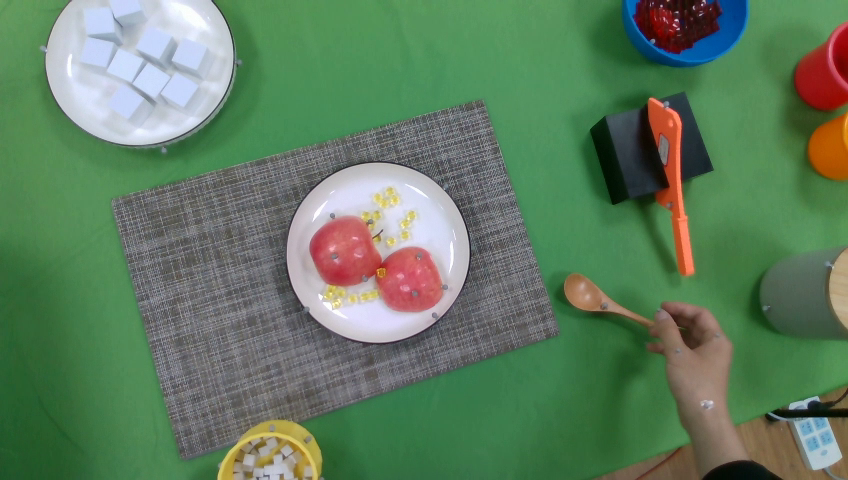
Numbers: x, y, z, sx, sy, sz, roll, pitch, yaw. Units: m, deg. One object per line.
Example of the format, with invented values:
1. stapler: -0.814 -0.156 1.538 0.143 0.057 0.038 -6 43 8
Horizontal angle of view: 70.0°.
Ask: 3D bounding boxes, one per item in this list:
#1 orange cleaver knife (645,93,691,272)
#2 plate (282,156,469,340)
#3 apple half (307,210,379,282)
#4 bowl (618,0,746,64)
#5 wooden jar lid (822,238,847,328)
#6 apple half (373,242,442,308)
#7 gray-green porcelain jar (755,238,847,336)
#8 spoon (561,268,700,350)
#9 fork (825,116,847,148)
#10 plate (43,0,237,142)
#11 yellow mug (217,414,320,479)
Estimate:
1. orange cleaver knife: 0.285 -0.066 0.712 0.012 0.076 0.212 -15 109 -3
2. plate: -0.054 0.009 0.691 0.209 0.038 0.208 1 84 -6
3. apple half: -0.092 0.006 0.672 0.075 0.053 0.080 -19 86 -5
4. bowl: 0.300 -0.278 0.739 0.151 0.077 0.151 1 84 -5
5. wooden jar lid: 0.463 0.048 0.630 0.108 0.021 0.108 0 83 -3
6. apple half: -0.019 0.040 0.685 0.081 0.033 0.081 1 81 -3
7. gray-green porcelain jar: 0.457 0.056 0.693 0.106 0.126 0.105 1 83 -5
8. spoon: 0.247 0.087 0.722 0.194 0.022 0.041 26 64 -2
9. fork: 0.530 -0.087 0.703 0.028 0.019 0.205 0 40 -6
10. plate: -0.319 -0.210 0.695 0.208 0.039 0.207 1 84 -5
11. yellow mug: -0.161 0.257 0.643 0.100 0.064 0.130 -5 88 -7
